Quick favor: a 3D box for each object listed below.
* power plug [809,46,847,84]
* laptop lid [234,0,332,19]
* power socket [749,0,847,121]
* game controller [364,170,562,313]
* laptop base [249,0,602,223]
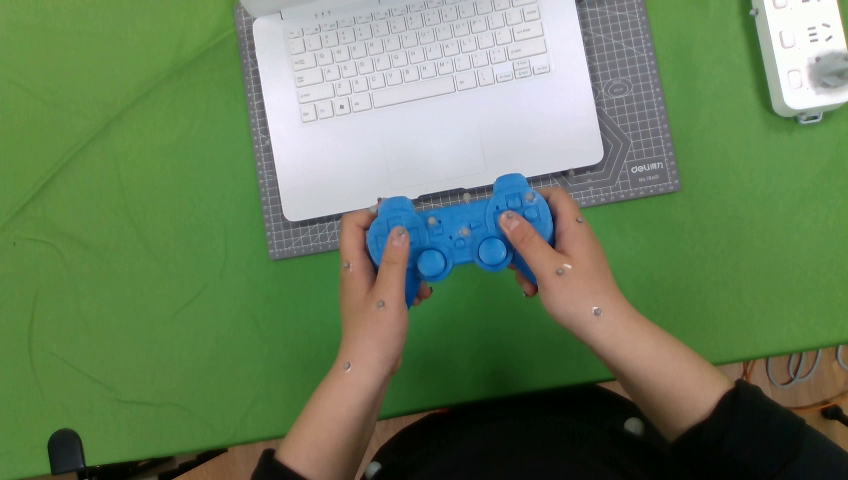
[{"bbox_3d":[0.416,-0.170,0.593,0.072,0.053,0.035,2,86,2],"label":"power plug"},{"bbox_3d":[-0.042,-0.307,0.557,0.356,0.243,0.013,-11,76,7],"label":"laptop lid"},{"bbox_3d":[0.378,-0.237,0.621,0.072,0.032,0.226,-9,85,6],"label":"power socket"},{"bbox_3d":[0.028,0.002,0.481,0.155,0.051,0.097,-11,91,6],"label":"game controller"},{"bbox_3d":[-0.004,-0.165,0.663,0.354,0.023,0.235,-11,88,5],"label":"laptop base"}]
